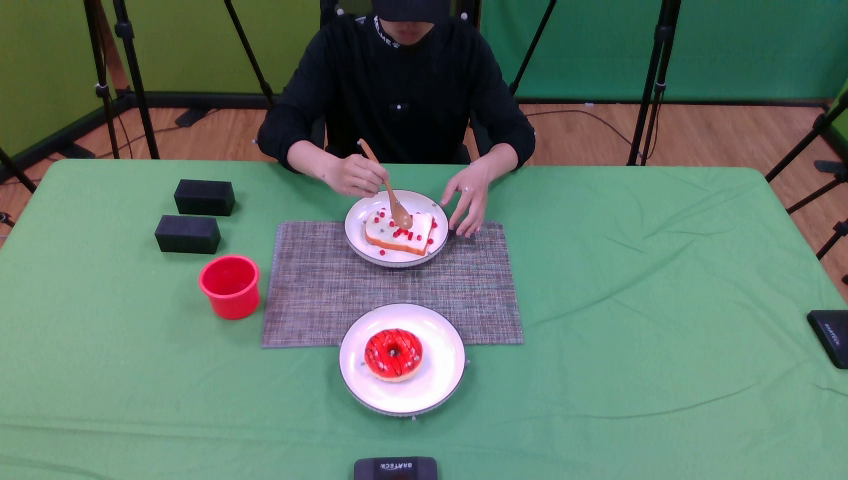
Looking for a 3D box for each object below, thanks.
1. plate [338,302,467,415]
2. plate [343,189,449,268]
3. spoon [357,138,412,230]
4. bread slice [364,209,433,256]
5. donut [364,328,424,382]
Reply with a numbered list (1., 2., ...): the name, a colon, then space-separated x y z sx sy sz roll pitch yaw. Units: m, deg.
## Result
1. plate: -0.035 0.194 0.992 0.208 0.039 0.206 2 48 -2
2. plate: -0.055 -0.019 1.195 0.209 0.038 0.208 3 46 -2
3. spoon: -0.071 -0.102 1.106 0.021 0.194 0.041 -2 34 40
4. bread slice: -0.054 -0.019 1.200 0.131 0.019 0.104 12 46 2
5. donut: -0.049 0.185 0.984 0.099 0.048 0.098 1 45 -1
